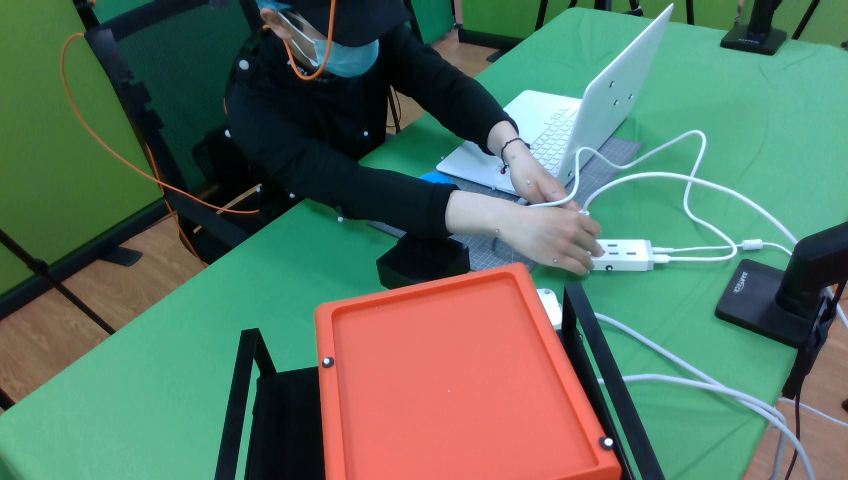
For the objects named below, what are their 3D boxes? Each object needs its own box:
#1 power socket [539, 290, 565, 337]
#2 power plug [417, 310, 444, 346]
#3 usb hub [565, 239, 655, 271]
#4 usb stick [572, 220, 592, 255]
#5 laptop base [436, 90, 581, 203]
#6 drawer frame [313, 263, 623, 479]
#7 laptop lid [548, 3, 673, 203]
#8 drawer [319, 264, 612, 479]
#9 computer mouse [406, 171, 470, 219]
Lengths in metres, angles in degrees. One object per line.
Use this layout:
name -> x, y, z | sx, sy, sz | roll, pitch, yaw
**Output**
power socket -> 0.081, 0.112, 0.822 | 0.227, 0.033, 0.072 | -7, 41, 0
power plug -> 0.007, 0.123, 0.785 | 0.035, 0.053, 0.072 | 0, 39, 8
usb hub -> 0.276, 0.022, 0.905 | 0.125, 0.025, 0.049 | 1, 41, 8
usb stick -> 0.233, 0.002, 0.889 | 0.021, 0.059, 0.027 | -12, 32, 8
laptop base -> 0.214, -0.192, 1.172 | 0.233, 0.023, 0.355 | 19, 46, 32
drawer frame -> 0.021, 0.130, 0.493 | 0.202, 0.083, 0.212 | -11, 41, -6
laptop lid -> 0.320, -0.235, 1.026 | 0.013, 0.242, 0.357 | 31, 50, 20
drawer -> 0.020, 0.129, 0.497 | 0.195, 0.073, 0.210 | -11, 41, -5
computer mouse -> 0.024, -0.082, 1.049 | 0.063, 0.041, 0.116 | -29, 50, -28
